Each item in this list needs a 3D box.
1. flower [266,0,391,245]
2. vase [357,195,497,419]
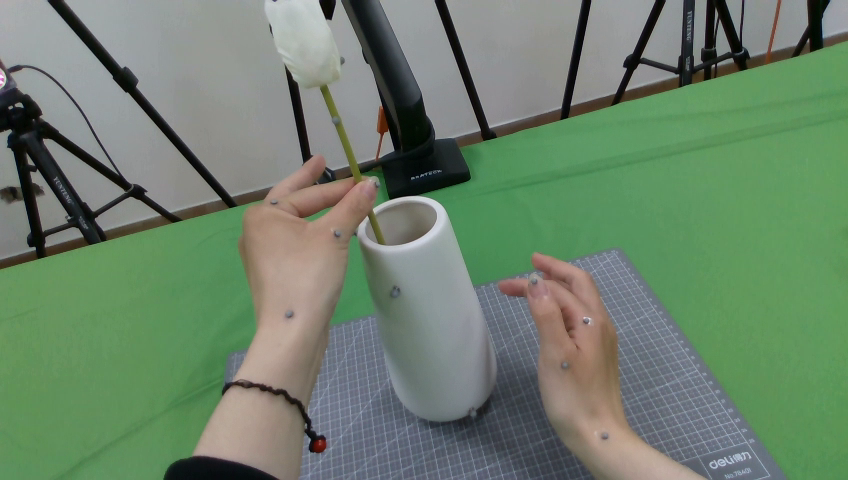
[{"bbox_3d":[-0.030,-0.003,0.461,0.038,0.364,0.043,-27,25,-14],"label":"flower"},{"bbox_3d":[0.003,0.061,0.512,0.098,0.202,0.097,-10,37,8],"label":"vase"}]
